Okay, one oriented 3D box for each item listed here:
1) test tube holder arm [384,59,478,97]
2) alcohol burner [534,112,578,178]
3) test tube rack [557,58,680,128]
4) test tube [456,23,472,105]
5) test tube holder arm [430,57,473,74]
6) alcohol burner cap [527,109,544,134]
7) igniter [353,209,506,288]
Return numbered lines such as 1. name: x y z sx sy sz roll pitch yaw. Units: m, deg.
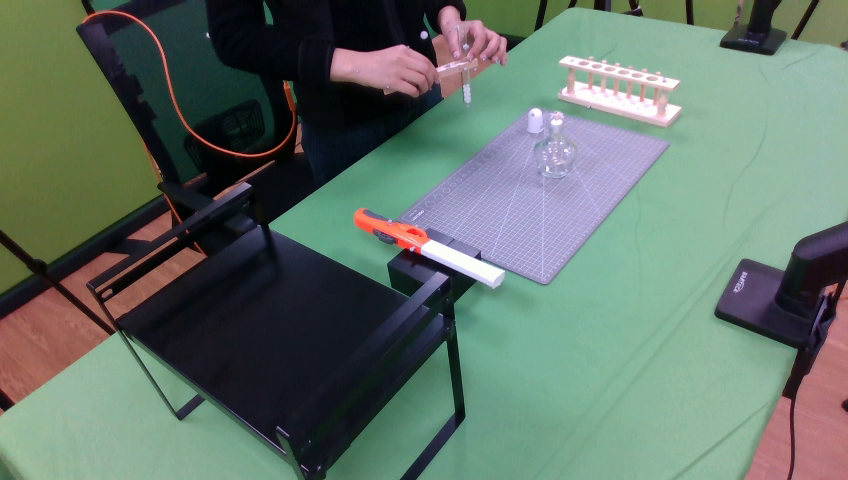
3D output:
1. test tube holder arm: 0.013 -0.284 1.055 0.179 0.015 0.013 -23 35 -15
2. alcohol burner: 0.232 -0.170 1.065 0.078 0.119 0.077 -5 39 5
3. test tube rack: 0.395 -0.309 1.230 0.240 0.085 0.067 25 50 33
4. test tube: 0.072 -0.310 1.077 0.017 0.151 0.017 -6 40 5
5. test tube holder arm: 0.050 -0.304 1.073 0.088 0.015 0.010 -28 37 -22
6. alcohol burner cap: 0.222 -0.238 1.203 0.034 0.048 0.033 -5 41 5
7. igniter: -0.003 0.006 0.892 0.274 0.025 0.057 24 37 31
